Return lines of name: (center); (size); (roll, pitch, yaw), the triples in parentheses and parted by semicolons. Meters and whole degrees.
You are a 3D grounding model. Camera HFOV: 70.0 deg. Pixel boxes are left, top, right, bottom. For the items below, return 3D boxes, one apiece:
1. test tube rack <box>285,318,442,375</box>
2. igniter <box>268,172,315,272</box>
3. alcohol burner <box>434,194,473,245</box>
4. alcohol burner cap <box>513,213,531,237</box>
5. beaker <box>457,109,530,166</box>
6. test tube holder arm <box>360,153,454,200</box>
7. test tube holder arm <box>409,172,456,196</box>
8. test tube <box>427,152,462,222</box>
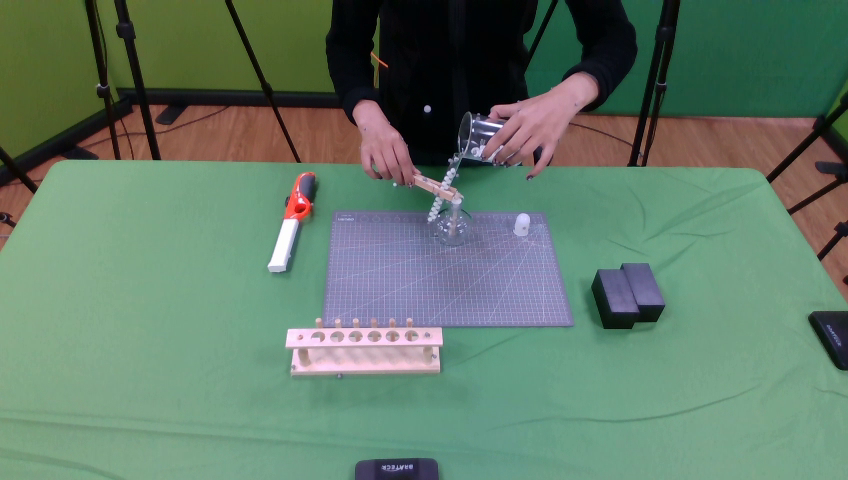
test tube rack: (-0.095, 0.168, 0.986); (0.242, 0.085, 0.066); (0, 46, -4)
igniter: (-0.263, -0.045, 1.219); (0.057, 0.025, 0.275); (-2, 45, 8)
alcohol burner: (0.059, -0.046, 1.179); (0.078, 0.120, 0.077); (1, 48, -1)
alcohol burner cap: (0.200, -0.034, 1.227); (0.034, 0.048, 0.033); (1, 45, -1)
beaker: (0.109, -0.158, 0.966); (0.100, 0.084, 0.073); (9, 53, -12)
test tube holder arm: (-0.031, -0.111, 1.045); (0.178, 0.015, 0.013); (25, 34, 10)
test tube holder arm: (0.012, -0.096, 1.043); (0.088, 0.015, 0.010); (21, 34, 5)
test tube: (0.033, -0.087, 1.034); (0.017, 0.151, 0.017); (13, 41, -11)
